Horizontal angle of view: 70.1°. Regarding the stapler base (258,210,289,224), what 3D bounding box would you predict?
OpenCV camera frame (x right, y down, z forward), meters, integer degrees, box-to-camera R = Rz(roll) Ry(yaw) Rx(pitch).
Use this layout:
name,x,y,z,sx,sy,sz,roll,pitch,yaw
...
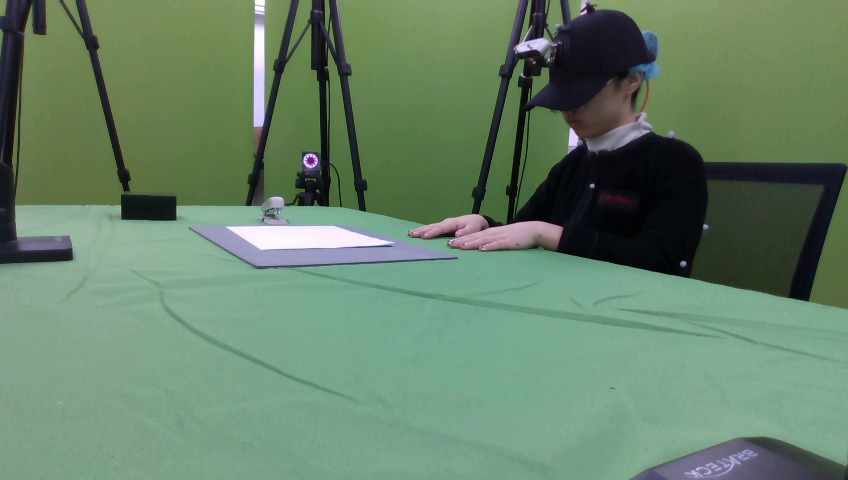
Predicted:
name,x,y,z,sx,sy,sz,roll,pitch,yaw
stapler base,-0.323,-0.052,1.295,0.041,0.024,0.130,1,5,-27

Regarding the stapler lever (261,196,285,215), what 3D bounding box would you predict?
name,x,y,z,sx,sy,sz,roll,pitch,yaw
stapler lever,-0.323,-0.076,1.293,0.027,0.040,0.117,1,6,-27
